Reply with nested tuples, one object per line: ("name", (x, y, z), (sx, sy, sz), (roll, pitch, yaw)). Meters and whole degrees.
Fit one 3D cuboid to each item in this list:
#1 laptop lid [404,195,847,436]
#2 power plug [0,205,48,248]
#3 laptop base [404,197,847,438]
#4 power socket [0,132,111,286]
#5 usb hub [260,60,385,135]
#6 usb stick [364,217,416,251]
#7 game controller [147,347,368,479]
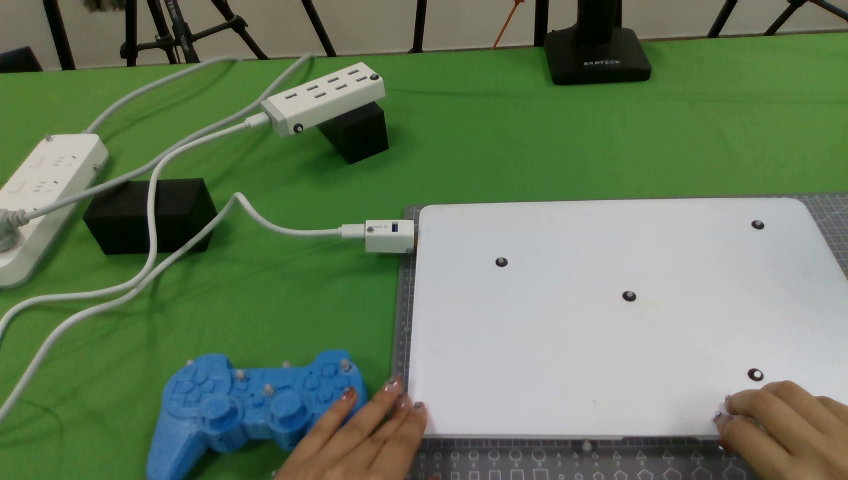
("laptop lid", (0.165, 0.047, 0.488), (0.356, 0.013, 0.239), (0, 47, 5))
("power plug", (-0.378, -0.005, 0.556), (0.072, 0.053, 0.035), (10, 46, 11))
("laptop base", (0.166, 0.054, 0.499), (0.354, 0.023, 0.233), (-1, 49, 4))
("power socket", (-0.401, -0.040, 0.627), (0.072, 0.033, 0.224), (1, 45, 5))
("usb hub", (-0.107, -0.154, 0.651), (0.125, 0.025, 0.049), (-28, 51, -20))
("usb stick", (-0.025, -0.005, 0.552), (0.059, 0.027, 0.021), (2, 44, -5))
("game controller", (-0.116, 0.121, 0.436), (0.155, 0.052, 0.096), (-1, 41, 3))
